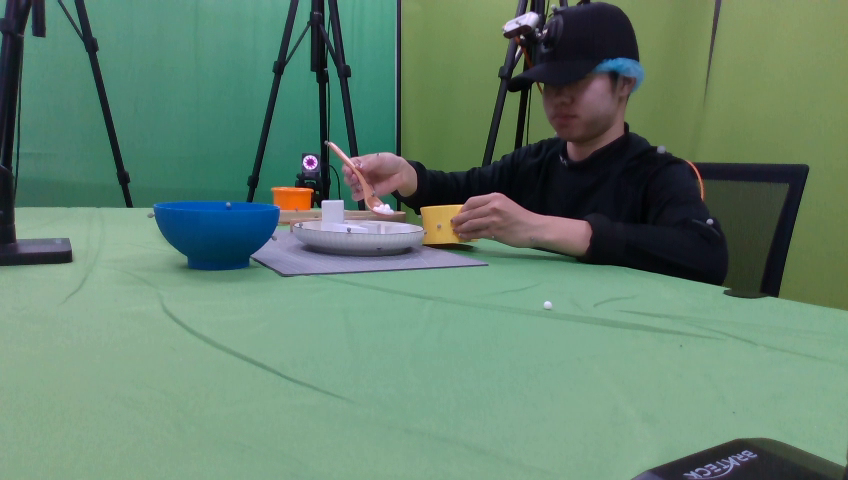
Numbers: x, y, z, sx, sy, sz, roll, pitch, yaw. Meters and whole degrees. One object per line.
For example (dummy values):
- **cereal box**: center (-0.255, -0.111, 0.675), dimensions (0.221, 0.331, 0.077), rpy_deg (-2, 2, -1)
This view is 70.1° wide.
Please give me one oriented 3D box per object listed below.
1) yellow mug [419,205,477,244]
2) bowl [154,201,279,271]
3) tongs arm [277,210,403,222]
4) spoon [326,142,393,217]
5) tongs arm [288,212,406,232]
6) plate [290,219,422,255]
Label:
- **yellow mug**: center (0.049, -0.027, 1.041), dimensions (0.100, 0.064, 0.130), rpy_deg (-4, 2, -30)
- **bowl**: center (-0.263, -0.005, 0.773), dimensions (0.151, 0.077, 0.151), rpy_deg (3, 8, 0)
- **tongs arm**: center (-0.206, -0.051, 1.332), dimensions (0.387, 0.026, 0.050), rpy_deg (-2, 8, -44)
- **spoon**: center (-0.107, -0.100, 0.976), dimensions (0.042, 0.021, 0.193), rpy_deg (-2, 48, -46)
- **tongs arm**: center (-0.146, -0.039, 1.280), dimensions (0.028, 0.028, 0.389), rpy_deg (3, 6, 33)
- **plate**: center (-0.108, -0.005, 0.963), dimensions (0.208, 0.039, 0.207), rpy_deg (3, 7, 0)
